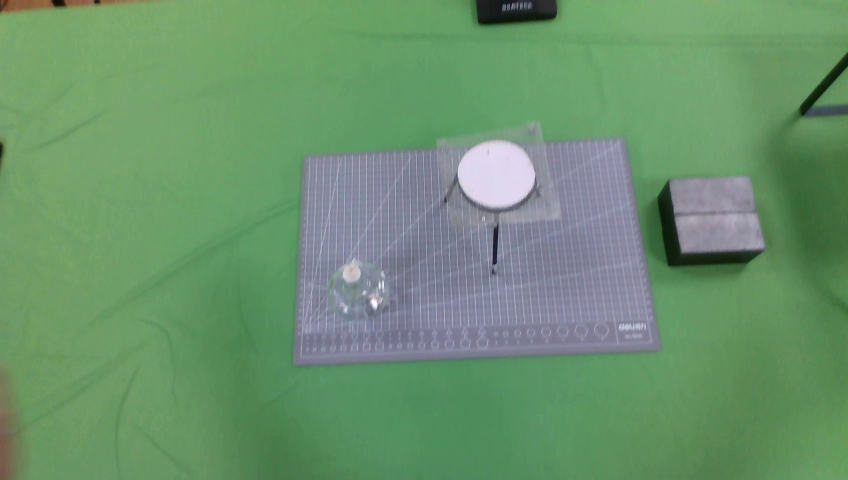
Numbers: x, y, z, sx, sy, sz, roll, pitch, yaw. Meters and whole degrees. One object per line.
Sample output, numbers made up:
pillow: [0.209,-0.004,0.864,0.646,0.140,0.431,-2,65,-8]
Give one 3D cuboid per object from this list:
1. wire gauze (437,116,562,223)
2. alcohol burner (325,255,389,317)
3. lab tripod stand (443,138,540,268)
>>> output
wire gauze: [0.082,-0.078,0.678,0.125,0.011,0.120,-7,69,0]
alcohol burner: [-0.082,0.050,0.722,0.078,0.120,0.077,-1,68,2]
lab tripod stand: [0.088,-0.057,0.741,0.148,0.132,0.147,-1,67,3]
